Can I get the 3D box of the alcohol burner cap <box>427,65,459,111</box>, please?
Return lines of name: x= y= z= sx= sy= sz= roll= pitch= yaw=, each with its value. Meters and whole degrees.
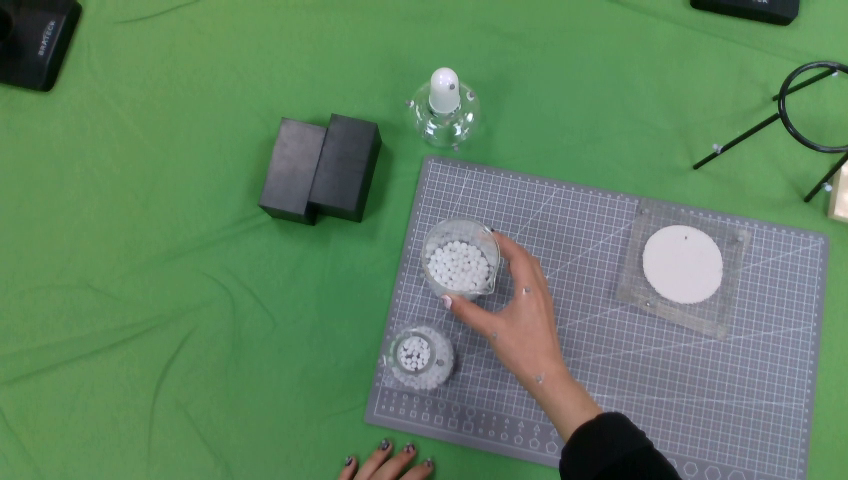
alcohol burner cap: x=0.019 y=-0.155 z=0.605 sx=0.034 sy=0.048 sz=0.033 roll=0 pitch=73 yaw=0

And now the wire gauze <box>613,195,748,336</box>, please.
wire gauze: x=0.276 y=0.025 z=0.652 sx=0.125 sy=0.011 sz=0.121 roll=20 pitch=80 yaw=2

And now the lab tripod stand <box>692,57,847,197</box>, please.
lab tripod stand: x=0.368 y=-0.111 z=0.615 sx=0.148 sy=0.132 sz=0.148 roll=0 pitch=81 yaw=3

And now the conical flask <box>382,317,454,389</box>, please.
conical flask: x=-0.008 y=0.108 z=0.584 sx=0.075 sy=0.122 sz=0.075 roll=0 pitch=79 yaw=2

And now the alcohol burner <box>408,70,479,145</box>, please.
alcohol burner: x=0.020 y=-0.146 z=0.640 sx=0.078 sy=0.119 sz=0.077 roll=-1 pitch=79 yaw=4

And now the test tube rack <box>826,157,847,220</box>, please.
test tube rack: x=0.563 y=-0.036 z=0.619 sx=0.242 sy=0.085 sz=0.066 roll=16 pitch=79 yaw=5

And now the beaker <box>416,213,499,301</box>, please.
beaker: x=0.035 y=0.024 z=0.608 sx=0.074 sy=0.100 sz=0.083 roll=-40 pitch=80 yaw=-7
